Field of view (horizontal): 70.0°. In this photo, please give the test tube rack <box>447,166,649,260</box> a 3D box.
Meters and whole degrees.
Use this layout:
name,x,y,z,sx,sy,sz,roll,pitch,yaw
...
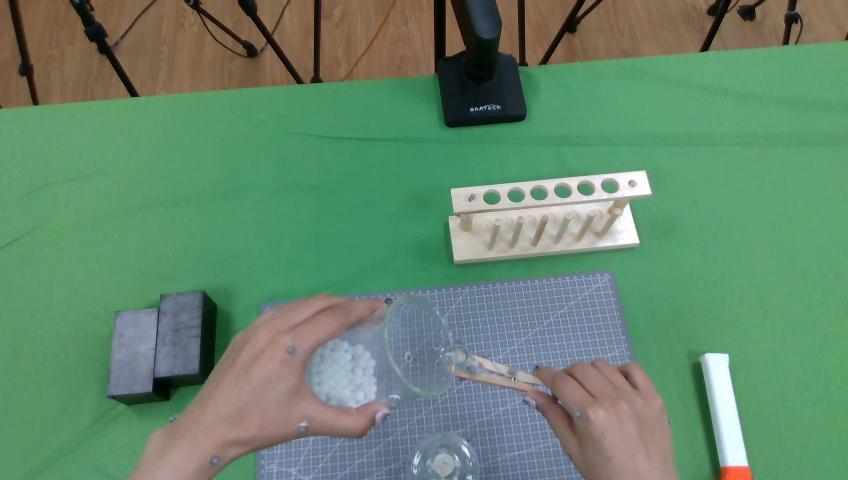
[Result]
name,x,y,z,sx,sy,sz,roll,pitch,yaw
test tube rack,0.154,-0.033,0.768,0.242,0.086,0.066,-6,65,-3

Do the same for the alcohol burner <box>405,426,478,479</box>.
name,x,y,z,sx,sy,sz,roll,pitch,yaw
alcohol burner,0.019,0.230,0.629,0.078,0.120,0.077,0,63,0

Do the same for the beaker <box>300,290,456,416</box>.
name,x,y,z,sx,sy,sz,roll,pitch,yaw
beaker,-0.036,0.089,0.456,0.100,0.085,0.073,-26,59,35

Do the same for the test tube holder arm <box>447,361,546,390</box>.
name,x,y,z,sx,sy,sz,roll,pitch,yaw
test tube holder arm,0.063,0.119,0.531,0.087,0.015,0.010,7,77,16

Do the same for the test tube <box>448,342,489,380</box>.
name,x,y,z,sx,sy,sz,roll,pitch,yaw
test tube,0.042,0.110,0.536,0.017,0.151,0.017,-4,71,13

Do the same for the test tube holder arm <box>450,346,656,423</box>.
name,x,y,z,sx,sy,sz,roll,pitch,yaw
test tube holder arm,0.107,0.122,0.519,0.177,0.015,0.013,14,80,18

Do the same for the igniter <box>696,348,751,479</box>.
name,x,y,z,sx,sy,sz,roll,pitch,yaw
igniter,0.341,0.256,0.669,0.057,0.025,0.274,5,65,-9
